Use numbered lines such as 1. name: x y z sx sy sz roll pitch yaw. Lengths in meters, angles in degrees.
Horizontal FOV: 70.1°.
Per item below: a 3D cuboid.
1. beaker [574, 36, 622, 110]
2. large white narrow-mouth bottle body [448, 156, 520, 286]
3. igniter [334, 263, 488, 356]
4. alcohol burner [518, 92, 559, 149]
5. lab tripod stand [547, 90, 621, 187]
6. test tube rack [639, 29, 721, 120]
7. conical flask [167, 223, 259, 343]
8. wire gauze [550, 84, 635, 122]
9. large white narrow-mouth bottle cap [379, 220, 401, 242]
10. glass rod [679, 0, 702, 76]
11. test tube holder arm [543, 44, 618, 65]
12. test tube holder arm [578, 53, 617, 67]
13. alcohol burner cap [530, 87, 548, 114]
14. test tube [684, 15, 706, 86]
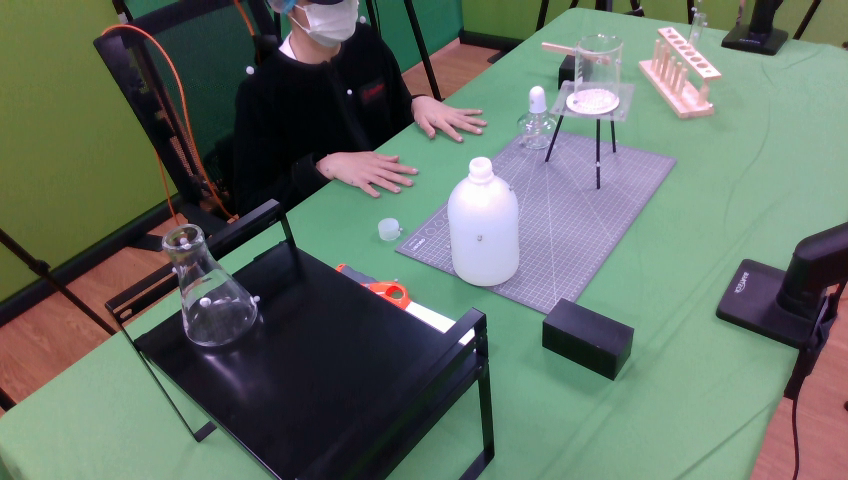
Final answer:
1. beaker: 0.285 -0.273 0.990 0.073 0.101 0.084 15 46 27
2. large white narrow-mouth bottle body: 0.086 -0.032 0.869 0.102 0.195 0.101 -4 40 4
3. igniter: -0.030 0.095 0.872 0.274 0.025 0.057 23 60 31
4. alcohol burner: 0.218 -0.234 1.149 0.078 0.119 0.077 -5 43 5
5. lab tripod stand: 0.289 -0.184 1.062 0.148 0.132 0.147 -6 41 6
6. test tube rack: 0.527 -0.351 1.262 0.067 0.085 0.241 -8 40 1
7. conical flask: -0.220 0.041 0.613 0.075 0.122 0.075 -5 40 4
8. wire gauze: 0.285 -0.234 1.021 0.124 0.011 0.121 8 41 23
9. large white narrow-mouth bottle cap: -0.057 -0.015 1.011 0.038 0.024 0.037 -4 40 4
10. glass rod: 0.543 -0.417 1.233 0.008 0.200 0.008 1 39 0
11. test tube holder arm: 0.344 -0.412 1.340 0.177 0.015 0.013 25 49 31
12. test tube holder arm: 0.376 -0.393 1.314 0.087 0.015 0.010 25 50 32
13. alcohol burner cap: 0.212 -0.262 1.126 0.034 0.048 0.033 -9 36 7
14. test tube: 0.540 -0.378 1.215 0.017 0.151 0.017 -2 44 3
